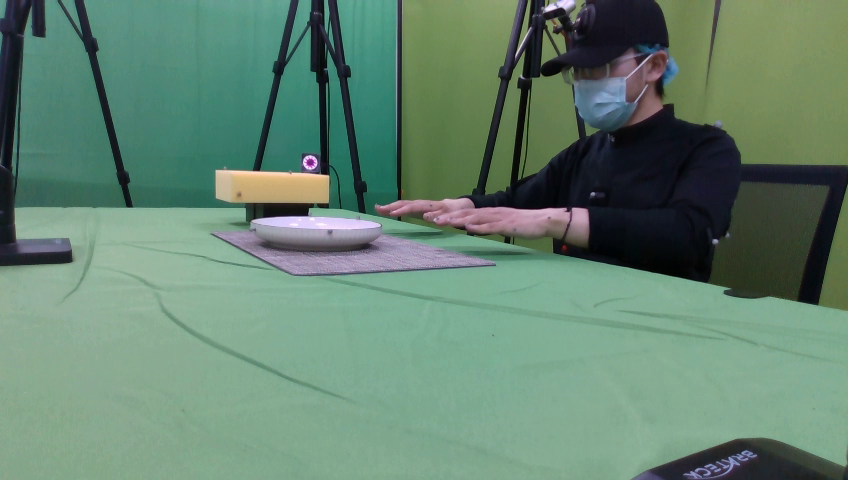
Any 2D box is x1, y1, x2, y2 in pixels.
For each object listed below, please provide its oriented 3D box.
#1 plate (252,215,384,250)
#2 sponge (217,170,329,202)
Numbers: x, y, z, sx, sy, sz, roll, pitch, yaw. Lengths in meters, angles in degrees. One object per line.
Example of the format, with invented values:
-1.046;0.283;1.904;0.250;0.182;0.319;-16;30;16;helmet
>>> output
-0.169;-0.012;0.976;0.208;0.039;0.207;2;7;0;plate
-0.318;-0.113;1.274;0.208;0.061;0.117;-3;8;-34;sponge
